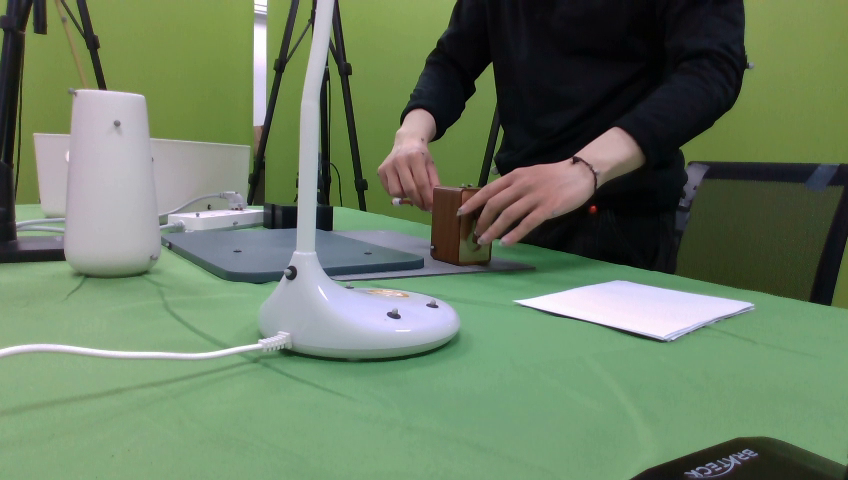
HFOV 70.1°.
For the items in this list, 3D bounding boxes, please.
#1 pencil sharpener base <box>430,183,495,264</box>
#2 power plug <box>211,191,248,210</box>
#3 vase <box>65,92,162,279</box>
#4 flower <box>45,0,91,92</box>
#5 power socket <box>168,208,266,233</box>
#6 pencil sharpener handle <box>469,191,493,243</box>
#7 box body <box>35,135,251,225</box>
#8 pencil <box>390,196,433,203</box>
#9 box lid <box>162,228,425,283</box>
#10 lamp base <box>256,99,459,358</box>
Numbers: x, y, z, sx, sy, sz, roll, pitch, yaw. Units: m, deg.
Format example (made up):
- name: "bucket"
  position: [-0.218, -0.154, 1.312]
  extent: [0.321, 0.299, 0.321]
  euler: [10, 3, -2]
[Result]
- name: "pencil sharpener base"
  position: [0.055, -0.025, 0.843]
  extent: [0.062, 0.107, 0.076]
  euler: [-2, 9, -32]
- name: "power plug"
  position: [-0.384, -0.071, 1.205]
  extent: [0.072, 0.052, 0.035]
  euler: [1, 8, 28]
- name: "vase"
  position: [-0.347, -0.060, 0.673]
  extent: [0.098, 0.200, 0.098]
  euler: [1, 7, 0]
- name: "flower"
  position: [-0.361, -0.142, 0.663]
  extent: [0.044, 0.361, 0.038]
  euler: [-12, 11, 30]
- name: "power socket"
  position: [-0.379, -0.038, 1.129]
  extent: [0.072, 0.032, 0.227]
  euler: [4, 8, 18]
- name: "pencil sharpener handle"
  position: [0.082, -0.030, 0.798]
  extent: [0.036, 0.067, 0.030]
  euler: [1, 7, -33]
- name: "box body"
  position: [-0.559, -0.127, 1.257]
  extent: [0.253, 0.160, 0.365]
  euler: [4, 8, 15]
- name: "pencil"
  position: [-0.002, -0.060, 0.931]
  extent: [0.012, 0.012, 0.193]
  euler: [-3, 6, -32]
- name: "box lid"
  position: [-0.200, 0.014, 0.861]
  extent: [0.265, 0.015, 0.369]
  euler: [-4, 9, -35]
- name: "lamp base"
  position: [-0.055, -0.013, 0.463]
  extent: [0.160, 0.180, 0.180]
  euler: [6, 11, 27]
